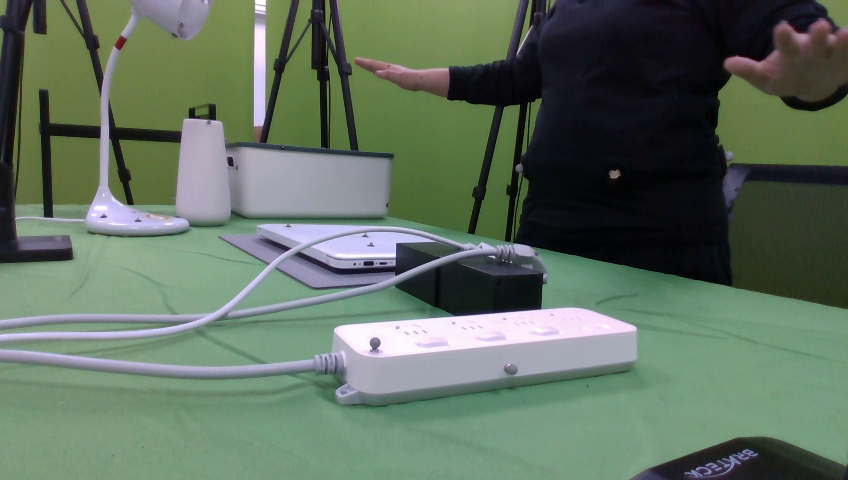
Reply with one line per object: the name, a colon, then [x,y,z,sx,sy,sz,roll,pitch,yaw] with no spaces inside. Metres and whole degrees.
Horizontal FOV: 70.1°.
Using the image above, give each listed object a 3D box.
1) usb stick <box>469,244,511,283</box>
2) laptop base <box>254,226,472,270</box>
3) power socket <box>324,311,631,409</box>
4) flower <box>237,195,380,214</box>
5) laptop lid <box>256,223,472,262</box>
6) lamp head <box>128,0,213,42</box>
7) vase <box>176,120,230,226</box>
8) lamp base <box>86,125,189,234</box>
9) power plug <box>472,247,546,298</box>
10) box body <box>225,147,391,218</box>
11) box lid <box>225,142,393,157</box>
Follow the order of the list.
usb stick: [0.080,0.029,0.674,0.059,0.021,0.027,28,27,-30]
laptop base: [-0.095,0.011,0.912,0.237,0.023,0.352,3,6,-32]
power socket: [0.042,0.075,0.411,0.228,0.032,0.072,-1,8,-25]
flower: [-0.284,-0.080,1.481,0.361,0.038,0.044,5,34,7]
laptop lid: [-0.092,0.000,0.912,0.243,0.013,0.355,1,7,-30]
lamp head: [-0.423,-0.394,0.980,0.123,0.112,0.112,20,7,-3]
vase: [-0.425,-0.128,1.159,0.098,0.200,0.098,2,9,0]
lamp base: [-0.497,-0.105,1.027,0.179,0.180,0.160,1,7,3]
power plug: [0.081,0.030,0.584,0.072,0.052,0.035,10,27,8]
box body: [-0.289,-0.143,1.475,0.366,0.160,0.253,-1,9,-29]
box lid: [-0.286,-0.216,1.464,0.373,0.015,0.262,-1,7,-28]
